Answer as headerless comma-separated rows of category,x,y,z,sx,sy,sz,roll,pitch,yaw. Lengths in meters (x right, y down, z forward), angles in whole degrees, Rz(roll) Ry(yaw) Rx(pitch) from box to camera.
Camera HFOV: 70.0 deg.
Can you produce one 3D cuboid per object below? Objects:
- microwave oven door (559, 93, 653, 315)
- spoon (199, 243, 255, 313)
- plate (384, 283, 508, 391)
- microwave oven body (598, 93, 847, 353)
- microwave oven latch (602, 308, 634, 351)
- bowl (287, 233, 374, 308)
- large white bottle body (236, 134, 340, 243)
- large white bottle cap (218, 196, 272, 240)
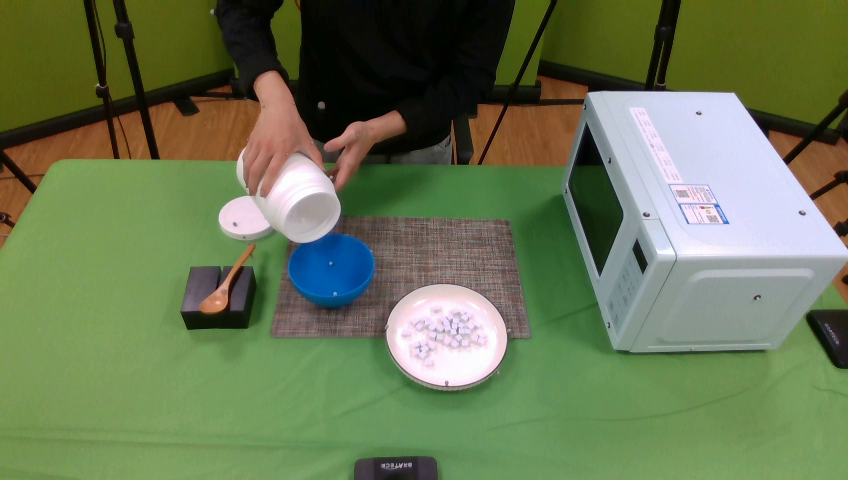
microwave oven door,0.327,-0.074,1.123,0.039,0.245,0.353,-1,46,-5
spoon,-0.333,0.062,1.052,0.041,0.022,0.193,8,40,7
plate,0.036,0.165,1.029,0.209,0.038,0.208,2,49,-2
microwave oven body,0.475,-0.041,1.109,0.326,0.261,0.438,-1,45,-4
microwave oven latch,0.332,0.153,1.044,0.030,0.029,0.078,-1,45,-4
bowl,-0.165,0.068,1.078,0.151,0.077,0.150,3,46,-2
large white bottle body,-0.241,-0.091,1.080,0.131,0.131,0.183,-24,51,-25
large white bottle cap,-0.355,-0.045,1.220,0.115,0.018,0.114,2,45,-2
